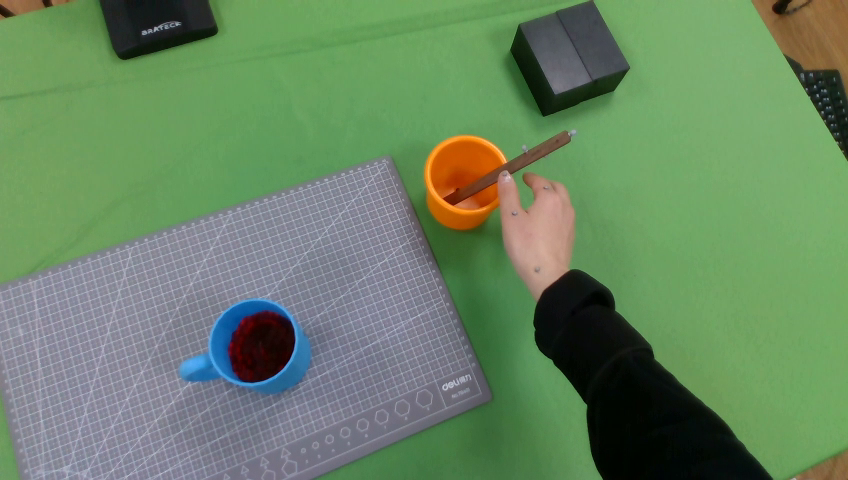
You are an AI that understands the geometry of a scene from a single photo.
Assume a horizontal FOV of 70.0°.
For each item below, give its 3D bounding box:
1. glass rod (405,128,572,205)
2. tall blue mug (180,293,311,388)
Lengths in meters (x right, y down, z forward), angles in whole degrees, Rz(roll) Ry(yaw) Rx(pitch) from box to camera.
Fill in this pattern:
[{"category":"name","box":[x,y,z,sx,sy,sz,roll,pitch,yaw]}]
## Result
[{"category":"glass rod","box":[0.062,-0.074,0.635,0.199,0.008,0.008,-22,72,28]},{"category":"tall blue mug","box":[-0.162,0.109,0.572,0.077,0.108,0.107,43,74,8]}]
